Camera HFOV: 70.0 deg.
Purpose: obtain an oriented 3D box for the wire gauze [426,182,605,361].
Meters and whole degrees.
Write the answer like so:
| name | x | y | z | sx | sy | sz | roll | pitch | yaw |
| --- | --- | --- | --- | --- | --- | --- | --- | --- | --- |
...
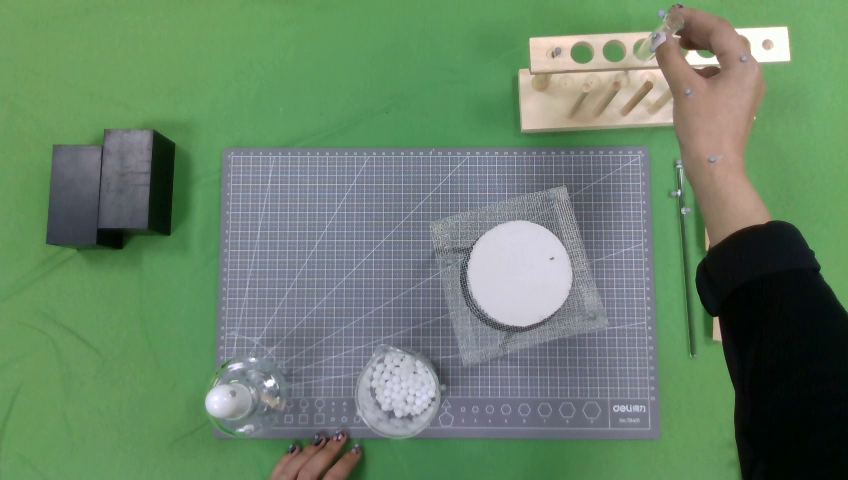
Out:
| name | x | y | z | sx | sy | sz | roll | pitch | yaw |
| --- | --- | --- | --- | --- | --- | --- | --- | --- | --- |
| wire gauze | 0.073 | 0.024 | 0.496 | 0.121 | 0.011 | 0.124 | -15 | 84 | 0 |

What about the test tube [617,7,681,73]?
| name | x | y | z | sx | sy | sz | roll | pitch | yaw |
| --- | --- | --- | --- | --- | --- | --- | --- | --- | --- |
| test tube | 0.202 | -0.179 | 0.557 | 0.017 | 0.150 | 0.017 | 0 | 90 | 4 |

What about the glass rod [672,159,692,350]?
| name | x | y | z | sx | sy | sz | roll | pitch | yaw |
| --- | --- | --- | --- | --- | --- | --- | --- | --- | --- |
| glass rod | 0.266 | 0.014 | 0.627 | 0.008 | 0.008 | 0.199 | -1 | 84 | 0 |

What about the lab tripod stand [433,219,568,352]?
| name | x | y | z | sx | sy | sz | roll | pitch | yaw |
| --- | --- | --- | --- | --- | --- | --- | --- | --- | --- |
| lab tripod stand | 0.071 | 0.034 | 0.562 | 0.148 | 0.132 | 0.148 | 0 | 85 | 3 |

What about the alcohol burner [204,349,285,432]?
| name | x | y | z | sx | sy | sz | roll | pitch | yaw |
| --- | --- | --- | --- | --- | --- | --- | --- | --- | --- |
| alcohol burner | -0.172 | 0.141 | 0.564 | 0.078 | 0.119 | 0.077 | 0 | 81 | 2 |

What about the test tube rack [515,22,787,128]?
| name | x | y | z | sx | sy | sz | roll | pitch | yaw |
| --- | --- | --- | --- | --- | --- | --- | --- | --- | --- |
| test tube rack | 0.219 | -0.162 | 0.607 | 0.242 | 0.085 | 0.066 | -3 | 84 | 1 |

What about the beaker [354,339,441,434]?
| name | x | y | z | sx | sy | sz | roll | pitch | yaw |
| --- | --- | --- | --- | --- | --- | --- | --- | --- | --- |
| beaker | -0.024 | 0.132 | 0.571 | 0.074 | 0.100 | 0.083 | -22 | 83 | -2 |

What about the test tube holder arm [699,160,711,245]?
| name | x | y | z | sx | sy | sz | roll | pitch | yaw |
| --- | --- | --- | --- | --- | --- | --- | --- | --- | --- |
| test tube holder arm | 0.293 | -0.038 | 0.628 | 0.010 | 0.015 | 0.087 | -3 | 84 | 35 |

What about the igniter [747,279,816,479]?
| name | x | y | z | sx | sy | sz | roll | pitch | yaw |
| --- | --- | --- | --- | --- | --- | --- | --- | --- | --- |
| igniter | 0.353 | 0.175 | 0.601 | 0.057 | 0.025 | 0.276 | 12 | 84 | -8 |

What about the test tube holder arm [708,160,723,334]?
| name | x | y | z | sx | sy | sz | roll | pitch | yaw |
| --- | --- | --- | --- | --- | --- | --- | --- | --- | --- |
| test tube holder arm | 0.298 | 0.007 | 0.621 | 0.013 | 0.015 | 0.178 | -4 | 83 | 35 |

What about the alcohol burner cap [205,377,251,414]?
| name | x | y | z | sx | sy | sz | roll | pitch | yaw |
| --- | --- | --- | --- | --- | --- | --- | --- | --- | --- |
| alcohol burner cap | -0.174 | 0.135 | 0.529 | 0.034 | 0.048 | 0.033 | 0 | 74 | -1 |
